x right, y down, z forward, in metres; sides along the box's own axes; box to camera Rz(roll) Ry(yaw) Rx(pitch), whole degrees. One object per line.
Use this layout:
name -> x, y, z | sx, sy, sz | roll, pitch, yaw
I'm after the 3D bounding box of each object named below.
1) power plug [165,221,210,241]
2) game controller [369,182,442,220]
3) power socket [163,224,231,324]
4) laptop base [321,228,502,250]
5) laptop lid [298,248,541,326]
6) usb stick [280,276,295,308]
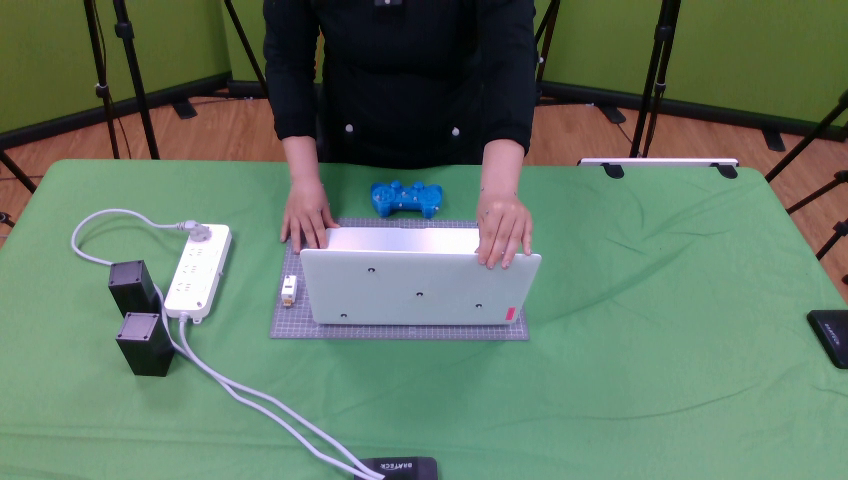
power plug -> -0.440, -0.015, 1.143 | 0.072, 0.053, 0.035 | 7, 46, 8
game controller -> -0.039, -0.091, 1.268 | 0.155, 0.052, 0.096 | 2, 50, -2
power socket -> -0.411, 0.052, 1.106 | 0.072, 0.033, 0.225 | 3, 46, -3
laptop base -> -0.021, 0.064, 1.135 | 0.355, 0.023, 0.234 | 1, 43, -4
laptop lid -> -0.010, 0.081, 0.955 | 0.357, 0.243, 0.013 | 2, 55, -5
usb stick -> -0.244, 0.093, 1.080 | 0.021, 0.027, 0.059 | 3, 48, -6
